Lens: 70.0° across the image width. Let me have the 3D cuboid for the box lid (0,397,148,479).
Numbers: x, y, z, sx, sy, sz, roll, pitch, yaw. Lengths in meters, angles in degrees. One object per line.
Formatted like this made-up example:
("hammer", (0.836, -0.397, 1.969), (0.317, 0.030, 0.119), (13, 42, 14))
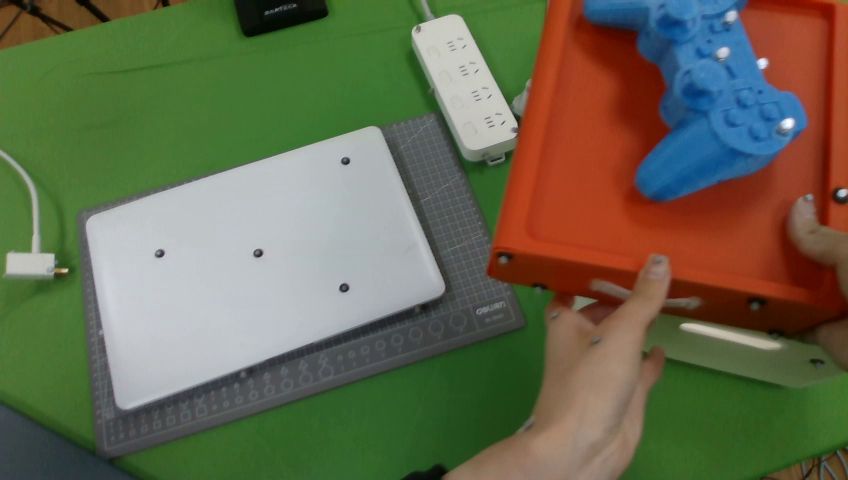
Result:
("box lid", (-0.367, 0.319, 0.546), (0.370, 0.015, 0.262), (23, 68, 12))

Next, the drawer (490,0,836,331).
("drawer", (0.157, -0.060, 0.403), (0.194, 0.074, 0.210), (10, 72, 8))

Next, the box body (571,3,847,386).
("box body", (0.305, -0.060, 0.608), (0.253, 0.161, 0.362), (13, 66, 9))

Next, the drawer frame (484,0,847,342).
("drawer frame", (0.158, -0.061, 0.403), (0.201, 0.083, 0.212), (11, 71, 7))

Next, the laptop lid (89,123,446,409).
("laptop lid", (-0.177, 0.014, 0.662), (0.357, 0.013, 0.239), (-18, 68, -6))

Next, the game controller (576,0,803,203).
("game controller", (0.158, -0.104, 0.364), (0.097, 0.052, 0.154), (-10, 71, -3))

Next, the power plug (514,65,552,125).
("power plug", (0.140, -0.173, 0.738), (0.035, 0.053, 0.072), (40, 55, 23))

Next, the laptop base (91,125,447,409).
("laptop base", (-0.177, 0.017, 0.674), (0.354, 0.023, 0.233), (-19, 69, -6))

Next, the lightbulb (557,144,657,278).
("lightbulb", (0.114, -0.024, 0.402), (0.059, 0.060, 0.106), (-10, 53, -2))

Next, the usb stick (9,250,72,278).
("usb stick", (-0.422, 0.027, 0.669), (0.059, 0.021, 0.027), (7, 65, -30))

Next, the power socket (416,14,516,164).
("power socket", (0.053, -0.194, 0.755), (0.072, 0.033, 0.224), (-18, 65, -7))
